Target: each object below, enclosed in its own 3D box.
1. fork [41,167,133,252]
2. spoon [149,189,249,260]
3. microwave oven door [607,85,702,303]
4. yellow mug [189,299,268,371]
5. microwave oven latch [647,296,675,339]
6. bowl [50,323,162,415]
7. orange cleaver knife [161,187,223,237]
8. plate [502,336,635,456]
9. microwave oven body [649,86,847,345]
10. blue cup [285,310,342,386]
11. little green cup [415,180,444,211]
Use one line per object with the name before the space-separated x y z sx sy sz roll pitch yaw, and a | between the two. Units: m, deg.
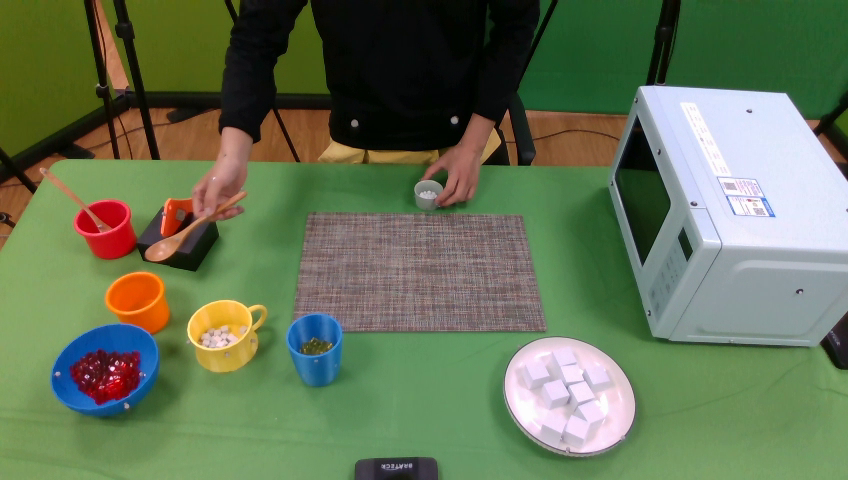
fork | -0.624 -0.056 1.121 0.208 0.018 0.028 49 52 -15
spoon | -0.376 -0.027 1.019 0.194 0.022 0.041 -37 54 -3
microwave oven door | 0.423 -0.094 1.141 0.039 0.245 0.353 2 46 -1
yellow mug | -0.316 0.148 1.002 0.131 0.064 0.099 -32 56 -31
microwave oven latch | 0.413 0.134 1.061 0.030 0.029 0.078 5 45 2
bowl | -0.472 0.209 0.924 0.151 0.077 0.150 2 45 -2
orange cleaver knife | -0.448 -0.058 1.181 0.012 0.077 0.211 13 17 6
plate | 0.225 0.248 0.963 0.208 0.039 0.206 2 46 -2
microwave oven body | 0.568 -0.053 1.118 0.326 0.261 0.439 2 45 -1
blue cup | -0.170 0.179 0.958 0.093 0.101 0.092 2 44 -1
little green cup | 0.010 -0.093 1.279 0.061 0.039 0.061 4 47 -4
